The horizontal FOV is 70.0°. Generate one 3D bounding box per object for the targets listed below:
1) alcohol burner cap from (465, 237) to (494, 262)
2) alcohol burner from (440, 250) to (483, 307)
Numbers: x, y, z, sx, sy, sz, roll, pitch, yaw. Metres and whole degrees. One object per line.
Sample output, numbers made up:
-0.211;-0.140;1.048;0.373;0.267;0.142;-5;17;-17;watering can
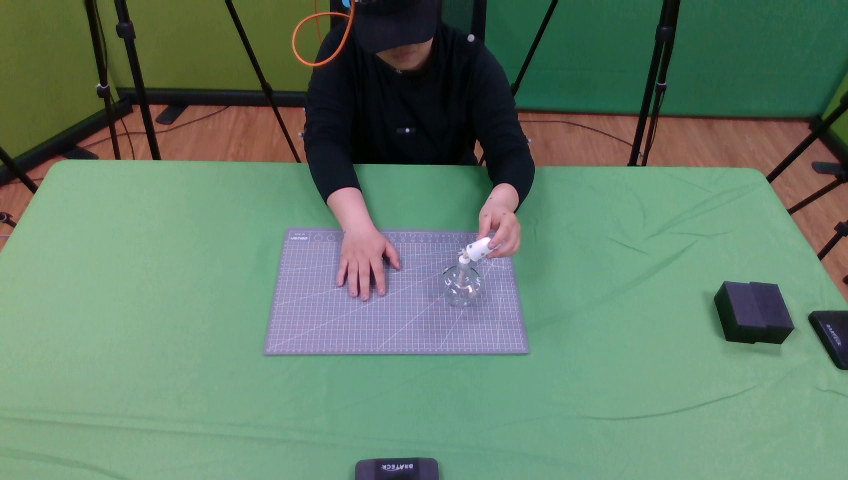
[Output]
0.095;0.013;1.023;0.034;0.048;0.033;33;40;-33;alcohol burner cap
0.068;0.064;1.076;0.078;0.120;0.077;1;45;-1;alcohol burner
